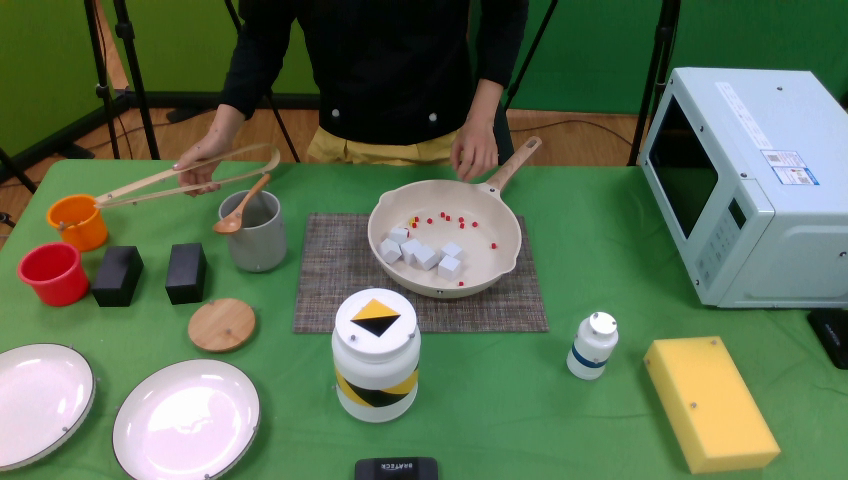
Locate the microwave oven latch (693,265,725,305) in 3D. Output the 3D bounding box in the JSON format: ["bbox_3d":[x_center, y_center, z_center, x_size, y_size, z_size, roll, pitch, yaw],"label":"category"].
[{"bbox_3d":[0.523,0.081,1.116,0.030,0.029,0.078,2,46,-1],"label":"microwave oven latch"}]

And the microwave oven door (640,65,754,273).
[{"bbox_3d":[0.523,-0.148,1.193,0.039,0.245,0.353,0,47,-3],"label":"microwave oven door"}]

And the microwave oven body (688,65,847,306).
[{"bbox_3d":[0.669,-0.111,1.176,0.326,0.261,0.439,0,46,-3],"label":"microwave oven body"}]

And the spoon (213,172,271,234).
[{"bbox_3d":[-0.313,-0.069,1.068,0.041,0.022,0.193,9,43,11],"label":"spoon"}]

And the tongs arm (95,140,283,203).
[{"bbox_3d":[-0.432,-0.129,1.165,0.026,0.051,0.384,19,37,35],"label":"tongs arm"}]

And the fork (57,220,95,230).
[{"bbox_3d":[-0.624,-0.027,1.086,0.028,0.207,0.018,-3,91,-17],"label":"fork"}]

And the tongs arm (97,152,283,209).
[{"bbox_3d":[-0.432,-0.117,1.170,0.027,0.028,0.388,14,27,37],"label":"tongs arm"}]

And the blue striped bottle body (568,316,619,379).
[{"bbox_3d":[0.276,0.168,0.984,0.063,0.121,0.062,2,46,-2],"label":"blue striped bottle body"}]

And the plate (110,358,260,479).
[{"bbox_3d":[-0.349,0.273,0.899,0.208,0.039,0.206,2,46,-2],"label":"plate"}]

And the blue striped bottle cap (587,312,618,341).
[{"bbox_3d":[0.279,0.134,0.947,0.044,0.021,0.044,2,45,-2],"label":"blue striped bottle cap"}]

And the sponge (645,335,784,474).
[{"bbox_3d":[0.449,0.253,0.956,0.118,0.061,0.205,-4,46,-7],"label":"sponge"}]

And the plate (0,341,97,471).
[{"bbox_3d":[-0.599,0.247,0.904,0.209,0.038,0.208,2,47,-2],"label":"plate"}]

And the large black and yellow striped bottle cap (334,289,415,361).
[{"bbox_3d":[-0.069,0.117,0.850,0.115,0.019,0.114,2,45,-2],"label":"large black and yellow striped bottle cap"}]

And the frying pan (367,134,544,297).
[{"bbox_3d":[0.104,-0.069,1.205,0.305,0.103,0.487,32,61,23],"label":"frying pan"}]

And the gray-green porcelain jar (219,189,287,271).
[{"bbox_3d":[-0.309,-0.014,1.113,0.106,0.127,0.105,2,46,-2],"label":"gray-green porcelain jar"}]

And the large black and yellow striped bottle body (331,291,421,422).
[{"bbox_3d":[-0.071,0.175,0.911,0.131,0.185,0.130,2,47,-2],"label":"large black and yellow striped bottle body"}]

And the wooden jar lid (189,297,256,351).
[{"bbox_3d":[-0.342,0.145,1.033,0.108,0.021,0.107,2,45,-2],"label":"wooden jar lid"}]
